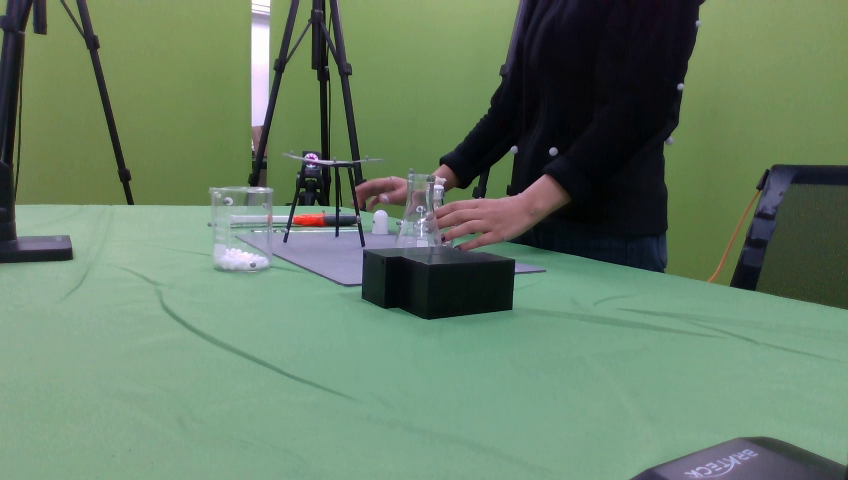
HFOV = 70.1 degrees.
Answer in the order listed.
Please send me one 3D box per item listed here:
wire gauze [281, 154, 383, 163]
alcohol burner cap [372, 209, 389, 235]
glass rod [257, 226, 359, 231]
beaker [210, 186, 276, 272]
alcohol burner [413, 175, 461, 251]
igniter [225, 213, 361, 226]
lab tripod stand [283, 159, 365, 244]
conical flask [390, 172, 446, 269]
[{"bbox_3d":[-0.146,-0.130,0.977,0.124,0.011,0.122,9,10,41],"label":"wire gauze"},{"bbox_3d":[-0.082,-0.035,1.143,0.034,0.048,0.034,3,7,0],"label":"alcohol burner cap"},{"bbox_3d":[-0.216,-0.022,1.151,0.201,0.008,0.008,-2,8,-28],"label":"glass rod"},{"bbox_3d":[-0.224,-0.014,0.738,0.084,0.100,0.074,4,7,16],"label":"beaker"},{"bbox_3d":[0.021,-0.043,0.957,0.078,0.119,0.078,1,6,0],"label":"alcohol burner"},{"bbox_3d":[-0.257,-0.042,1.221,0.278,0.025,0.057,-2,-2,-32],"label":"igniter"},{"bbox_3d":[-0.151,-0.063,0.983,0.148,0.131,0.148,4,7,0],"label":"lab tripod stand"},{"bbox_3d":[-0.006,-0.027,0.790,0.075,0.122,0.075,2,7,0],"label":"conical flask"}]
